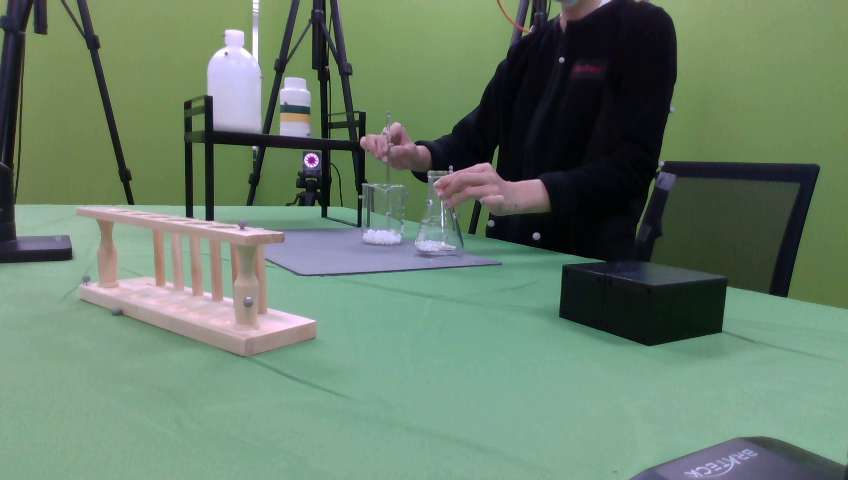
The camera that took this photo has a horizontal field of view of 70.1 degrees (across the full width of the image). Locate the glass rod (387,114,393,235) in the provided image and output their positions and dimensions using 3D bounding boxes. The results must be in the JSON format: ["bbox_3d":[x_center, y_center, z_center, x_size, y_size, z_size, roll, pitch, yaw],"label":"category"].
[{"bbox_3d":[-0.056,-0.107,1.000,0.008,0.199,0.008,-1,8,0],"label":"glass rod"}]

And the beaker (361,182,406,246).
[{"bbox_3d":[-0.067,-0.042,0.993,0.074,0.100,0.084,1,8,-8],"label":"beaker"}]

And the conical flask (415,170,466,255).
[{"bbox_3d":[0.024,-0.041,0.885,0.075,0.122,0.075,0,6,0],"label":"conical flask"}]

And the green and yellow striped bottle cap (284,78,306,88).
[{"bbox_3d":[-0.268,-0.325,1.259,0.045,0.020,0.045,5,7,0],"label":"green and yellow striped bottle cap"}]

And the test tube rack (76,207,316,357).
[{"bbox_3d":[-0.196,0.023,0.500,0.241,0.085,0.067,8,9,36],"label":"test tube rack"}]

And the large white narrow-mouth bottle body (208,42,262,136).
[{"bbox_3d":[-0.369,-0.304,1.181,0.102,0.194,0.101,2,9,0],"label":"large white narrow-mouth bottle body"}]

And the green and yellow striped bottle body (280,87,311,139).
[{"bbox_3d":[-0.269,-0.274,1.266,0.063,0.119,0.063,3,7,0],"label":"green and yellow striped bottle body"}]

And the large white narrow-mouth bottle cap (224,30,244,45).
[{"bbox_3d":[-0.365,-0.389,1.166,0.038,0.024,0.037,2,9,0],"label":"large white narrow-mouth bottle cap"}]
